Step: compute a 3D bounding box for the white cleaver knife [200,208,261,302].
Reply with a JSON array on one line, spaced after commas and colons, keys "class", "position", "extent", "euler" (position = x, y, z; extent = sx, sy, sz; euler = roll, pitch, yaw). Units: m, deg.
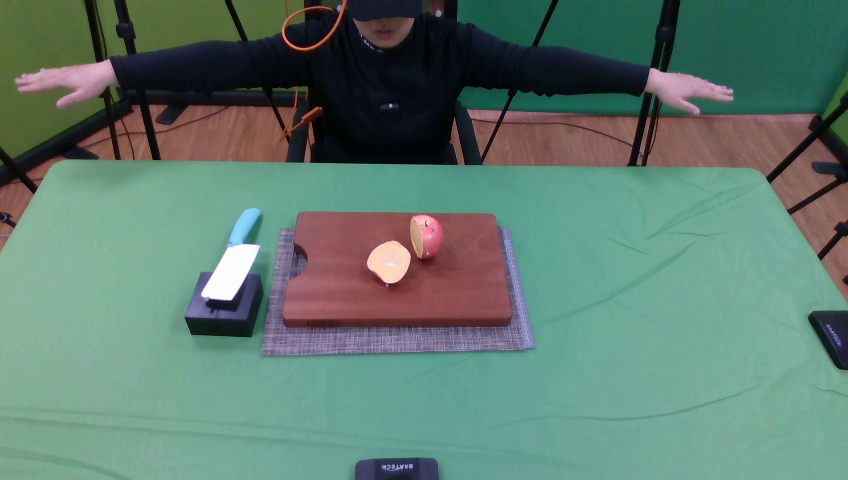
[{"class": "white cleaver knife", "position": [-0.338, 0.024, 1.116], "extent": [0.066, 0.021, 0.285], "euler": [7, 35, -3]}]

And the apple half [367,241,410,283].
[{"class": "apple half", "position": [-0.059, 0.043, 1.100], "extent": [0.081, 0.033, 0.081], "euler": [-3, 67, 7]}]

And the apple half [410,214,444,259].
[{"class": "apple half", "position": [0.009, -0.007, 1.131], "extent": [0.053, 0.075, 0.080], "euler": [-8, 43, -17]}]
